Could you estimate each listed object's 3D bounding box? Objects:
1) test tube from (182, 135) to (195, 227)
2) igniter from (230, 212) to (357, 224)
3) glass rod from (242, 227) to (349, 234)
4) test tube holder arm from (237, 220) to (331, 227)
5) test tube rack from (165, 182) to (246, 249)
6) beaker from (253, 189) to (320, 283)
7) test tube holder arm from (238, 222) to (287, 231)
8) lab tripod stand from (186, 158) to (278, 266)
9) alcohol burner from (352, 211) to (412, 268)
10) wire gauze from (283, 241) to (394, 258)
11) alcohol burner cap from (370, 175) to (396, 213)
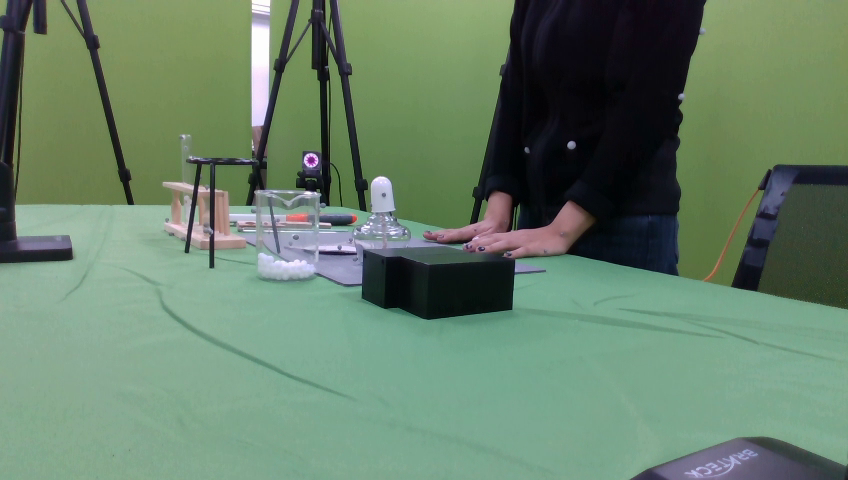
[{"bbox_3d":[-0.382,-0.095,0.983,0.017,0.150,0.017,-1,2,0],"label":"test tube"},{"bbox_3d":[-0.271,-0.044,1.232,0.278,0.025,0.057,-2,-2,-27],"label":"igniter"},{"bbox_3d":[-0.232,-0.017,1.110,0.201,0.008,0.008,1,6,-30],"label":"glass rod"},{"bbox_3d":[-0.261,-0.030,1.141,0.179,0.015,0.013,-3,45,-33],"label":"test tube holder arm"},{"bbox_3d":[-0.360,-0.044,0.982,0.067,0.085,0.241,-3,9,-34],"label":"test tube rack"},{"bbox_3d":[-0.156,-0.005,0.689,0.074,0.100,0.083,0,8,-13],"label":"beaker"},{"bbox_3d":[-0.297,-0.024,1.113,0.088,0.015,0.010,-2,45,-33],"label":"test tube holder arm"},{"bbox_3d":[-0.261,-0.041,0.796,0.148,0.131,0.148,3,9,0],"label":"lab tripod stand"},{"bbox_3d":[-0.055,-0.024,0.784,0.078,0.119,0.078,2,9,0],"label":"alcohol burner"},{"bbox_3d":[-0.127,0.012,0.894,0.126,0.011,0.121,1,6,-35],"label":"wire gauze"},{"bbox_3d":[-0.055,-0.059,0.778,0.034,0.048,0.034,-7,10,2],"label":"alcohol burner cap"}]
